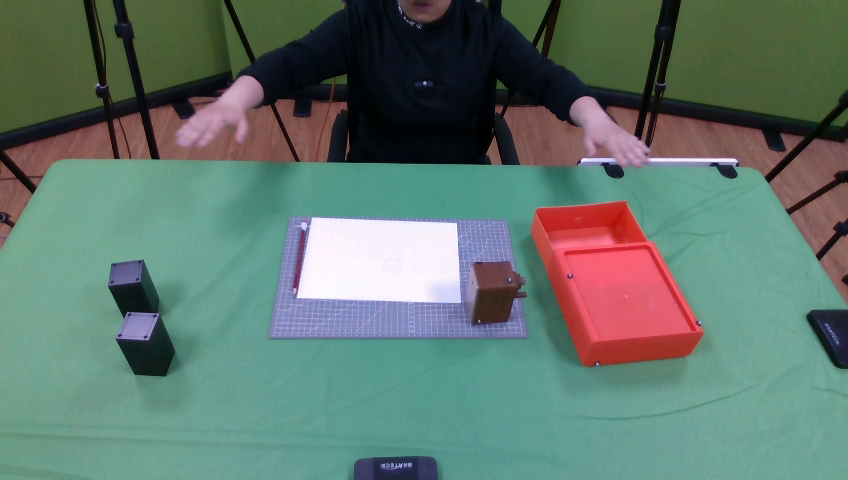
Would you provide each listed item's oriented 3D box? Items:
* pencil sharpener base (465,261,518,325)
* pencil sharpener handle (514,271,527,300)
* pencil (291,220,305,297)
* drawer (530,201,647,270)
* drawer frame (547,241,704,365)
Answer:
[{"bbox_3d":[0.117,0.092,1.052,0.077,0.107,0.061,-3,46,-7],"label":"pencil sharpener base"},{"bbox_3d":[0.168,0.081,1.051,0.031,0.068,0.035,-3,49,-7],"label":"pencil sharpener handle"},{"bbox_3d":[-0.240,0.032,1.152,0.012,0.012,0.193,1,47,-4],"label":"pencil"},{"bbox_3d":[0.328,0.025,1.159,0.195,0.073,0.210,-5,47,-9],"label":"drawer"},{"bbox_3d":[0.348,0.106,1.077,0.202,0.083,0.212,-4,47,-9],"label":"drawer frame"}]
